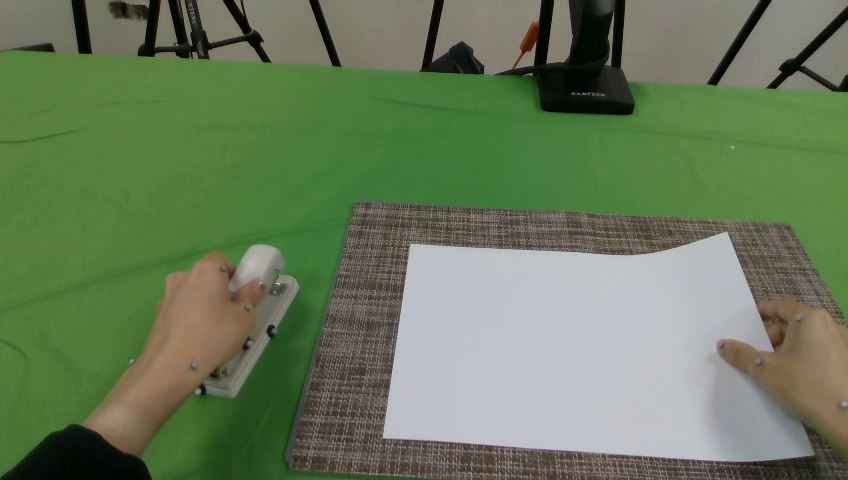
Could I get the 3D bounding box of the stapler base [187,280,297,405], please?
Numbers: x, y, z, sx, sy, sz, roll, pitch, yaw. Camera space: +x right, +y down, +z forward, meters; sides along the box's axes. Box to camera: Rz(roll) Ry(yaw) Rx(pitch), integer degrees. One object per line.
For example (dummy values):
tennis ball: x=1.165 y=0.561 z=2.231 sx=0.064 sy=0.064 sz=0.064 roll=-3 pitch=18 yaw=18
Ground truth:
stapler base: x=-0.147 y=0.073 z=0.499 sx=0.041 sy=0.024 sz=0.129 roll=9 pitch=43 yaw=11

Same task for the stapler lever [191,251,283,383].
stapler lever: x=-0.146 y=0.056 z=0.482 sx=0.027 sy=0.040 sz=0.117 roll=9 pitch=42 yaw=11
